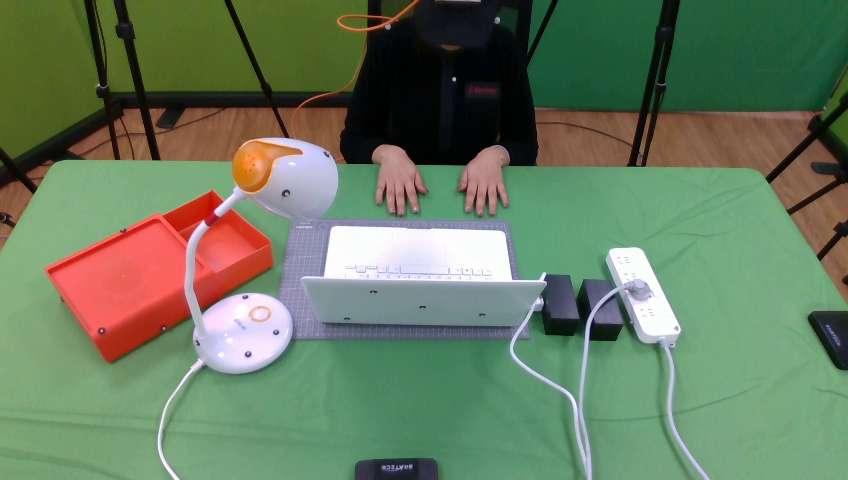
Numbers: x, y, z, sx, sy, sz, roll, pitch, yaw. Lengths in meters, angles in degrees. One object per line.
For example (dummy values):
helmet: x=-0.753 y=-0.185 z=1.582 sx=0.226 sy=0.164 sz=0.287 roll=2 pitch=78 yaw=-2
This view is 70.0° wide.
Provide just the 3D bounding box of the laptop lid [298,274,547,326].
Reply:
laptop lid: x=-0.004 y=0.099 z=0.947 sx=0.357 sy=0.242 sz=0.013 roll=2 pitch=66 yaw=-4

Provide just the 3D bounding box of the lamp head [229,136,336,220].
lamp head: x=-0.196 y=-0.085 z=0.791 sx=0.112 sy=0.112 sz=0.123 roll=36 pitch=15 yaw=27

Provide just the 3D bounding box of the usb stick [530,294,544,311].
usb stick: x=0.183 y=0.111 z=1.086 sx=0.059 sy=0.027 sz=0.021 roll=1 pitch=44 yaw=-3

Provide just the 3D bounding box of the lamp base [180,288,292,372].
lamp base: x=-0.309 y=0.107 z=0.959 sx=0.160 sy=0.181 sz=0.179 roll=29 pitch=55 yaw=22

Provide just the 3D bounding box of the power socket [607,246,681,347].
power socket: x=0.403 y=0.096 z=1.123 sx=0.072 sy=0.033 sz=0.225 roll=-3 pitch=47 yaw=-5

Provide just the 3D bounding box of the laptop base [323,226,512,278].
laptop base: x=-0.011 y=0.063 z=1.137 sx=0.354 sy=0.023 sz=0.234 roll=1 pitch=43 yaw=-3

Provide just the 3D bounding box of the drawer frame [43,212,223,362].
drawer frame: x=-0.497 y=0.073 z=1.049 sx=0.213 sy=0.083 sz=0.200 roll=-34 pitch=57 yaw=-31

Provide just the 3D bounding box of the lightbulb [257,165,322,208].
lightbulb: x=-0.181 y=-0.075 z=0.809 sx=0.059 sy=0.059 sz=0.108 roll=34 pitch=12 yaw=26

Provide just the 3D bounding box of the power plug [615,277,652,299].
power plug: x=0.375 y=0.088 z=1.097 sx=0.072 sy=0.053 sz=0.035 roll=5 pitch=46 yaw=2

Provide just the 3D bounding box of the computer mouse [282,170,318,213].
computer mouse: x=-0.259 y=-0.106 z=1.272 sx=0.063 sy=0.041 sz=0.116 roll=3 pitch=49 yaw=-3

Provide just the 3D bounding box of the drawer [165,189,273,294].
drawer: x=-0.419 y=0.022 z=1.109 sx=0.193 sy=0.073 sz=0.211 roll=37 pitch=55 yaw=27
